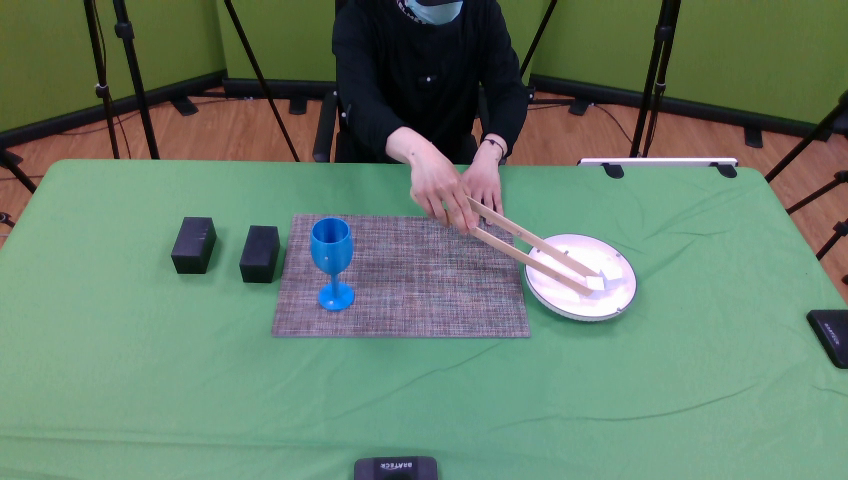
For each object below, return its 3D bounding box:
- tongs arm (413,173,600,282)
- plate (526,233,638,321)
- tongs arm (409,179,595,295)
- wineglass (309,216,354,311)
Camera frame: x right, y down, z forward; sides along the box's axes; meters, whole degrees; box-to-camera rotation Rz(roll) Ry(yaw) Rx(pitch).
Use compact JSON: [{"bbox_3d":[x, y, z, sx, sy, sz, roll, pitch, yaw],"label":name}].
[{"bbox_3d":[0.148,-0.019,1.122,0.384,0.026,0.050,33,52,5],"label":"tongs arm"},{"bbox_3d":[0.292,0.071,1.135,0.209,0.038,0.208,2,46,-2],"label":"plate"},{"bbox_3d":[0.138,-0.002,1.106,0.387,0.028,0.028,30,55,2],"label":"tongs arm"},{"bbox_3d":[-0.155,0.043,1.032,0.074,0.173,0.073,2,46,-2],"label":"wineglass"}]
